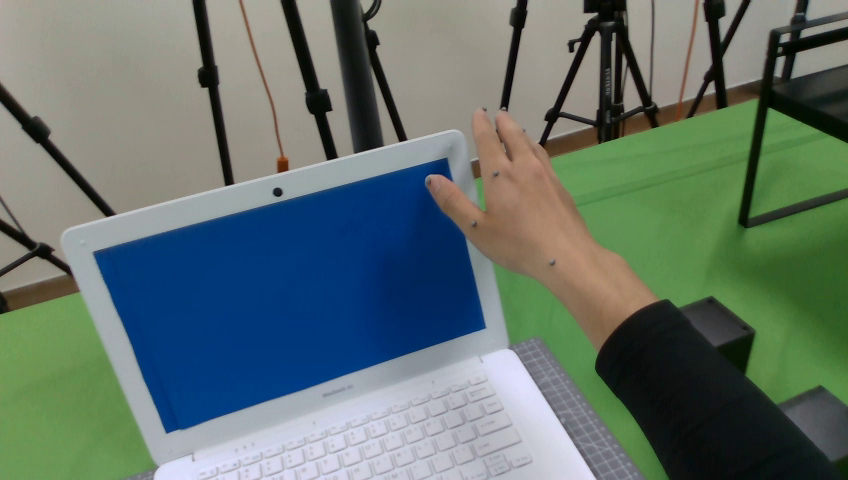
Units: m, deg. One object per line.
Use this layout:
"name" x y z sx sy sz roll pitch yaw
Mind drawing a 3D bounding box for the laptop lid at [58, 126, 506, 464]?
"laptop lid" -0.107 0.050 0.553 0.357 0.243 0.013 -18 17 -11

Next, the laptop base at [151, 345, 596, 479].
"laptop base" -0.044 0.219 0.494 0.355 0.023 0.233 -17 38 -11
